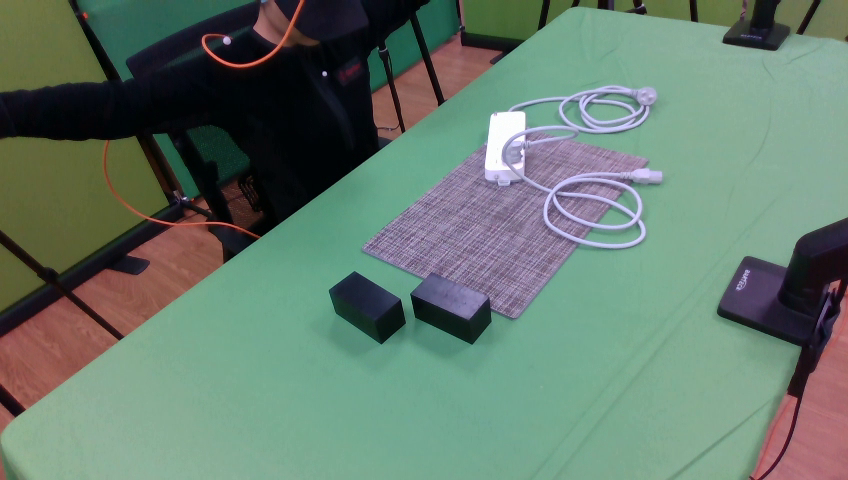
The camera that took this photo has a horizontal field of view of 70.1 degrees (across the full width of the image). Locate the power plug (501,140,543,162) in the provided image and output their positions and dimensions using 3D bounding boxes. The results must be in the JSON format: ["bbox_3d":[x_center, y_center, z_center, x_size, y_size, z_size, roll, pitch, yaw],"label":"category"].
[{"bbox_3d":[0.174,-0.150,1.078,0.072,0.053,0.035,6,42,20],"label":"power plug"}]

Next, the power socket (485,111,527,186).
[{"bbox_3d":[0.159,-0.181,1.153,0.072,0.033,0.226,0,40,11],"label":"power socket"}]
